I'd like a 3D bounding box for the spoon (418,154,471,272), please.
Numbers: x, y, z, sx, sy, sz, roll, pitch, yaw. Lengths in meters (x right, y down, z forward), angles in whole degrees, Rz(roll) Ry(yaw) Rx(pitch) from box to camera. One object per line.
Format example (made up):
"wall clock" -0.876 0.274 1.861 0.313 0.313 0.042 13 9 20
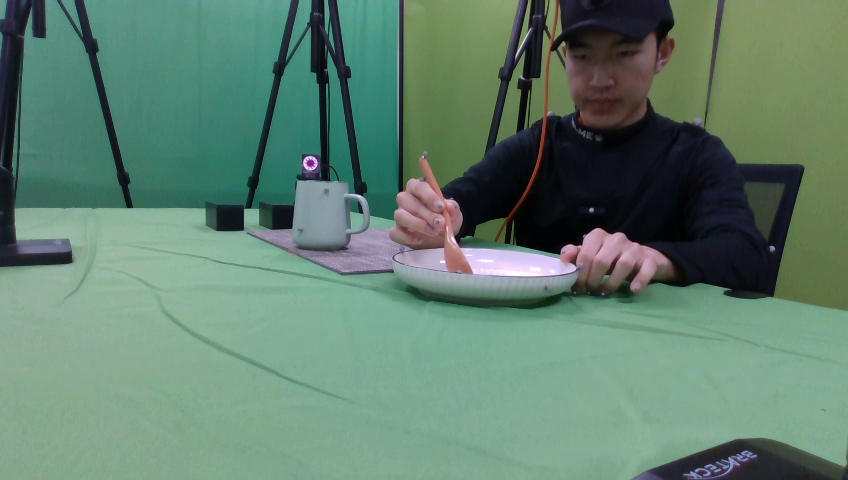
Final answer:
"spoon" 0.020 -0.027 0.686 0.022 0.041 0.193 0 51 -18

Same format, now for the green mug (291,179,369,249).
"green mug" -0.144 -0.040 0.944 0.125 0.105 0.093 4 7 16

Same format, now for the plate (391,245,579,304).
"plate" 0.066 0.038 0.683 0.209 0.038 0.209 2 7 0
